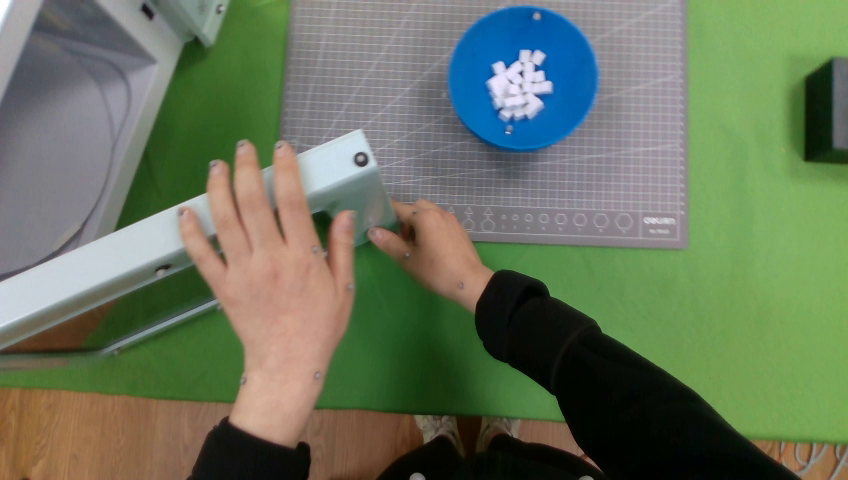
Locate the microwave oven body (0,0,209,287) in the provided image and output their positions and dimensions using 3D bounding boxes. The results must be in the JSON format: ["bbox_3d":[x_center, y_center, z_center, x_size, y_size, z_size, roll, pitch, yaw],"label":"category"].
[{"bbox_3d":[-0.432,-0.153,0.550,0.326,0.261,0.440,16,84,2],"label":"microwave oven body"}]

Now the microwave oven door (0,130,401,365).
[{"bbox_3d":[-0.196,0.020,0.520,0.356,0.244,0.039,-24,82,-2],"label":"microwave oven door"}]

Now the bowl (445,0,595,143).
[{"bbox_3d":[0.096,-0.166,0.635,0.151,0.077,0.151,0,83,1],"label":"bowl"}]

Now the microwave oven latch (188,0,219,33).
[{"bbox_3d":[-0.238,-0.269,0.658,0.030,0.029,0.079,17,84,3],"label":"microwave oven latch"}]
